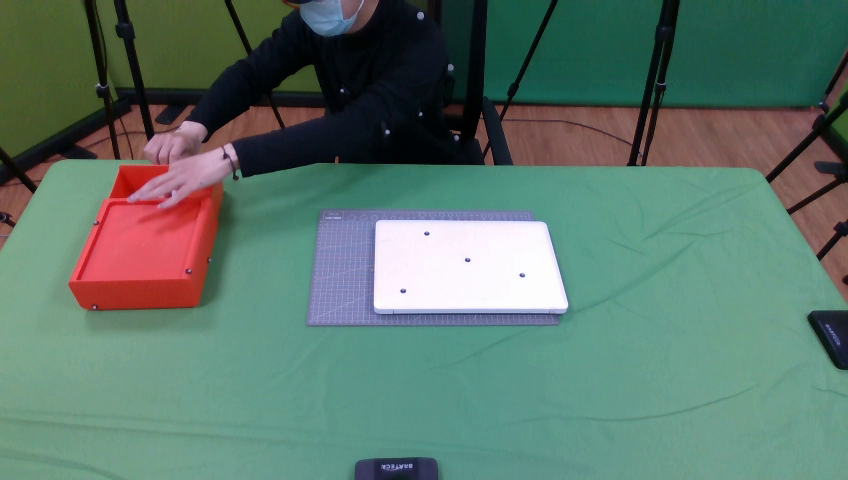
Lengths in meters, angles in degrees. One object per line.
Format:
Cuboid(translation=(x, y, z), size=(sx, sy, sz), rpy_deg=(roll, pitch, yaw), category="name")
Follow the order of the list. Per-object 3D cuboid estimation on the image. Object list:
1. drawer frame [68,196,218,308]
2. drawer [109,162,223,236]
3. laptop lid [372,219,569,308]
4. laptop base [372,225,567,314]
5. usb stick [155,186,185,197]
Cuboid(translation=(-0.497, 0.016, 1.100), size=(0.202, 0.083, 0.212), rpy_deg=(-1, 46, -6), category="drawer frame")
Cuboid(translation=(-0.507, -0.060, 1.176), size=(0.195, 0.073, 0.210), rpy_deg=(-1, 45, -7), category="drawer")
Cuboid(translation=(0.081, 0.039, 1.152), size=(0.357, 0.013, 0.240), rpy_deg=(2, 44, -3), category="laptop lid")
Cuboid(translation=(0.080, 0.049, 1.158), size=(0.355, 0.023, 0.234), rpy_deg=(0, 43, -4), category="laptop base")
Cuboid(translation=(-0.500, -0.087, 1.188), size=(0.059, 0.027, 0.021), rpy_deg=(13, 46, 5), category="usb stick")
